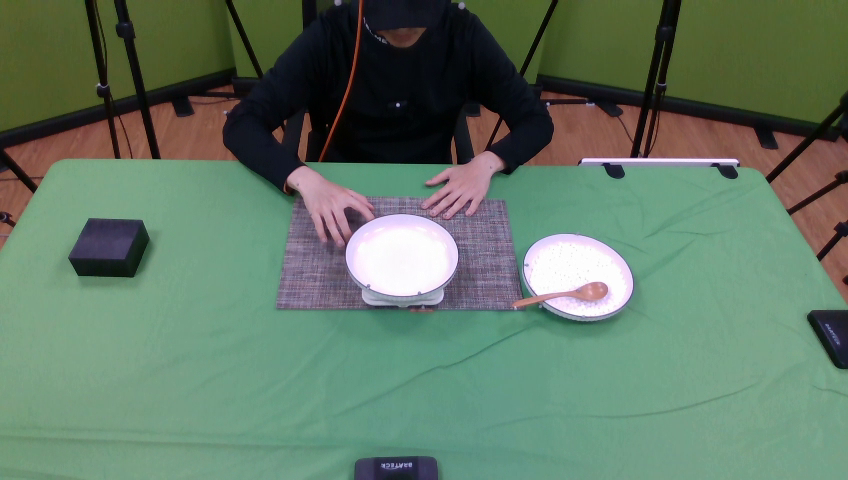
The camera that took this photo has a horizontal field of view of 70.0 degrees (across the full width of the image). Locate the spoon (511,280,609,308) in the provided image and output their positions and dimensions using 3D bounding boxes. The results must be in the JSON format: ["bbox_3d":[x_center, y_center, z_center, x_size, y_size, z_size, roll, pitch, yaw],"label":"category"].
[{"bbox_3d":[0.245,0.098,1.088,0.194,0.022,0.041,-5,47,-19],"label":"spoon"}]

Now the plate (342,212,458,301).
[{"bbox_3d":[-0.043,0.033,1.105,0.208,0.039,0.206,2,46,-2],"label":"plate"}]

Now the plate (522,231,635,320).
[{"bbox_3d":[0.287,0.069,1.141,0.209,0.038,0.208,2,46,-2],"label":"plate"}]

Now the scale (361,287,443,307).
[{"bbox_3d":[-0.042,0.040,1.143,0.149,0.032,0.199,0,46,-4],"label":"scale"}]
